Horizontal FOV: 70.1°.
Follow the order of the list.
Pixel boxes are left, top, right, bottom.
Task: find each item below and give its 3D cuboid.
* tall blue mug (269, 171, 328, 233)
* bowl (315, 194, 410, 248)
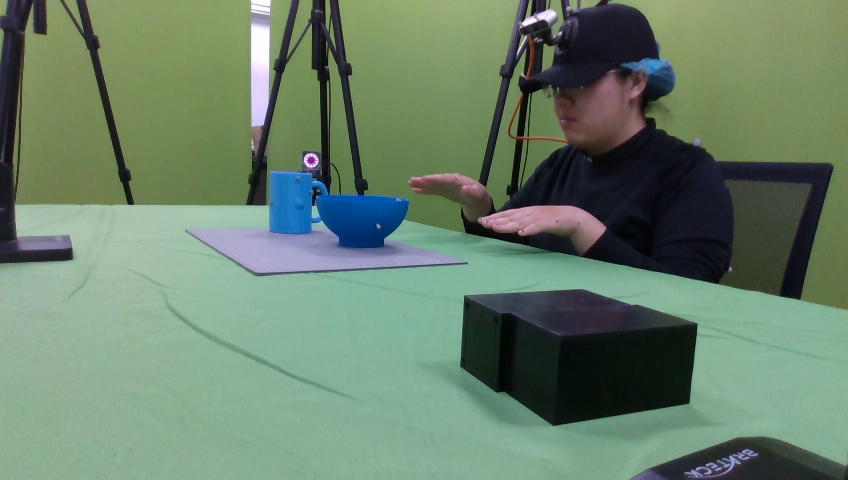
[{"bbox_3d":[-0.236,-0.071,1.118,0.077,0.108,0.107,5,8,25],"label":"tall blue mug"},{"bbox_3d":[-0.099,-0.031,0.971,0.151,0.077,0.151,2,7,0],"label":"bowl"}]
